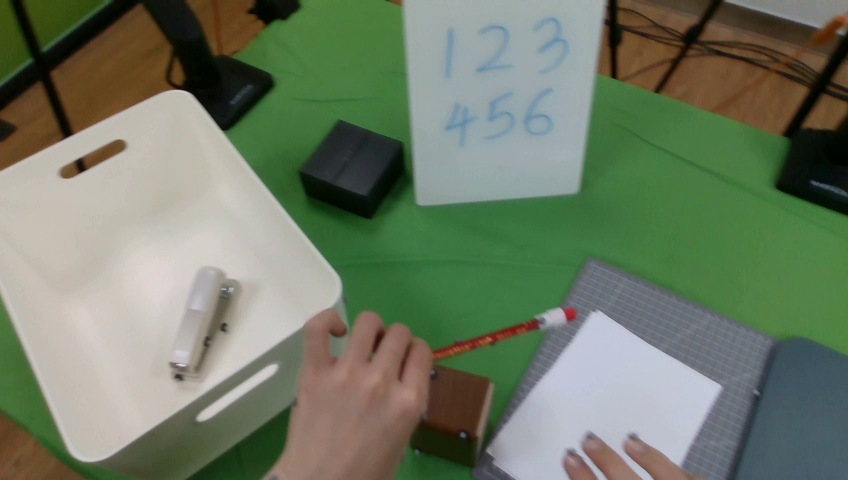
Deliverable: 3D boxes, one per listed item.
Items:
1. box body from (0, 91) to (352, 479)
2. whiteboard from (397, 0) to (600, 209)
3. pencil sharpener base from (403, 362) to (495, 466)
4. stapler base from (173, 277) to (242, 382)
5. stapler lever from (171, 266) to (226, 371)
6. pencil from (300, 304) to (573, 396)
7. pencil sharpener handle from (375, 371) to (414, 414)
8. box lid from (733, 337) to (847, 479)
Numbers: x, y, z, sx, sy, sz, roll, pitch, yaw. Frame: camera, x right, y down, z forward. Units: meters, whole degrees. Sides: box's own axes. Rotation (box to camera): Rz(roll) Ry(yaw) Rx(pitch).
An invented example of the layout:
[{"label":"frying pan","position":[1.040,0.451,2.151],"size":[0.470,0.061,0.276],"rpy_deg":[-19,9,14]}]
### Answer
[{"label":"box body","position":[-0.272,0.042,0.655],"size":[0.254,0.162,0.360],"rpy_deg":[-35,62,-18]},{"label":"whiteboard","position":[0.083,-0.212,0.758],"size":[0.217,0.308,0.142],"rpy_deg":[-4,38,0]},{"label":"pencil sharpener base","position":[0.024,0.172,0.595],"size":[0.076,0.108,0.061],"rpy_deg":[14,59,11]},{"label":"stapler base","position":[-0.250,0.096,0.696],"size":[0.041,0.024,0.129],"rpy_deg":[6,60,9]},{"label":"stapler lever","position":[-0.251,0.084,0.673],"size":[0.027,0.040,0.117],"rpy_deg":[6,60,9]},{"label":"pencil","position":[0.011,0.075,0.410],"size":[0.194,0.012,0.012],"rpy_deg":[-16,57,-8]},{"label":"pencil sharpener handle","position":[-0.027,0.136,0.567],"size":[0.030,0.068,0.036],"rpy_deg":[14,59,11]},{"label":"box lid","position":[0.422,0.285,0.564],"size":[0.262,0.015,0.370],"rpy_deg":[26,62,16]}]
